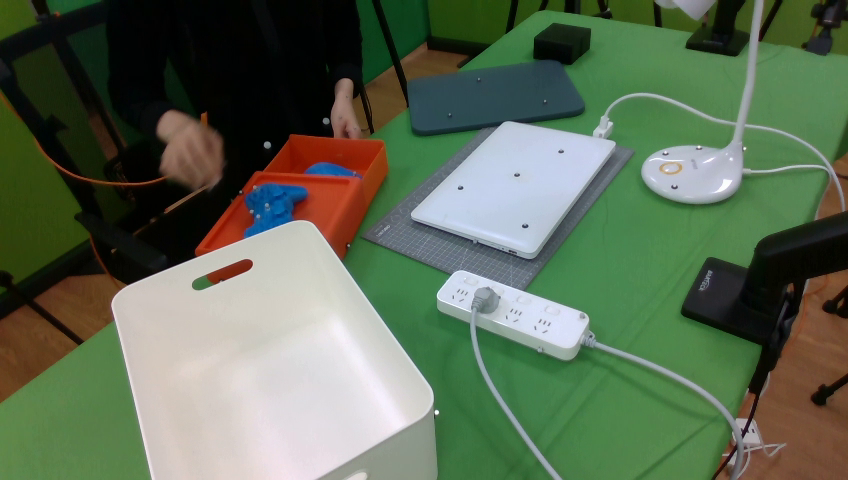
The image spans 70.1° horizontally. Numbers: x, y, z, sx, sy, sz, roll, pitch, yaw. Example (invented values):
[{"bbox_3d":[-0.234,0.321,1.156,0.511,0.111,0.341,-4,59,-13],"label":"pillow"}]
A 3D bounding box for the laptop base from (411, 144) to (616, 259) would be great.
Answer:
[{"bbox_3d":[0.168,-0.101,1.073,0.234,0.023,0.355,17,46,30],"label":"laptop base"}]

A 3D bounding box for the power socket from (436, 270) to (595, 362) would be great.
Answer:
[{"bbox_3d":[0.118,0.101,0.832,0.225,0.033,0.072,19,48,27],"label":"power socket"}]

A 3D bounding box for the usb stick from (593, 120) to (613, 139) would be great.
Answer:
[{"bbox_3d":[0.336,-0.201,1.147,0.021,0.027,0.059,26,53,26],"label":"usb stick"}]

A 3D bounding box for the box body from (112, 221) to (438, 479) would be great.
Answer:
[{"bbox_3d":[-0.170,0.168,0.693,0.255,0.161,0.360,-24,43,-19],"label":"box body"}]

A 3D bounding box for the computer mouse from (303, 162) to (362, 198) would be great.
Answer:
[{"bbox_3d":[-0.173,-0.111,1.110,0.116,0.041,0.063,14,42,18],"label":"computer mouse"}]

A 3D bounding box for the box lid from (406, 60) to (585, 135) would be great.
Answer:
[{"bbox_3d":[0.150,-0.320,1.340,0.372,0.015,0.261,-8,40,0],"label":"box lid"}]

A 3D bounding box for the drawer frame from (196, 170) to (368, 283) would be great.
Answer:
[{"bbox_3d":[-0.220,-0.020,0.984,0.201,0.083,0.213,5,42,13],"label":"drawer frame"}]

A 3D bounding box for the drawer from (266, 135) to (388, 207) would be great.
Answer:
[{"bbox_3d":[-0.189,-0.100,1.078,0.194,0.073,0.211,6,42,15],"label":"drawer"}]

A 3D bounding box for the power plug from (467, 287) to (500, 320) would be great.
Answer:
[{"bbox_3d":[0.073,0.092,0.813,0.035,0.053,0.073,29,54,34],"label":"power plug"}]

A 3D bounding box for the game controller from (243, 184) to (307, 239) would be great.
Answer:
[{"bbox_3d":[-0.227,-0.039,0.928,0.097,0.052,0.154,-14,40,-4],"label":"game controller"}]

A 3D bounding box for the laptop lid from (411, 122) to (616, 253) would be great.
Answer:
[{"bbox_3d":[0.165,-0.111,1.067,0.240,0.013,0.357,19,46,31],"label":"laptop lid"}]

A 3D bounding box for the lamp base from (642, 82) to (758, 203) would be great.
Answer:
[{"bbox_3d":[0.464,-0.174,0.992,0.179,0.181,0.159,-5,41,-1],"label":"lamp base"}]

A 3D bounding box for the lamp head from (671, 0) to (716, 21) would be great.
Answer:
[{"bbox_3d":[0.375,-0.373,0.807,0.122,0.113,0.112,-40,27,32],"label":"lamp head"}]
